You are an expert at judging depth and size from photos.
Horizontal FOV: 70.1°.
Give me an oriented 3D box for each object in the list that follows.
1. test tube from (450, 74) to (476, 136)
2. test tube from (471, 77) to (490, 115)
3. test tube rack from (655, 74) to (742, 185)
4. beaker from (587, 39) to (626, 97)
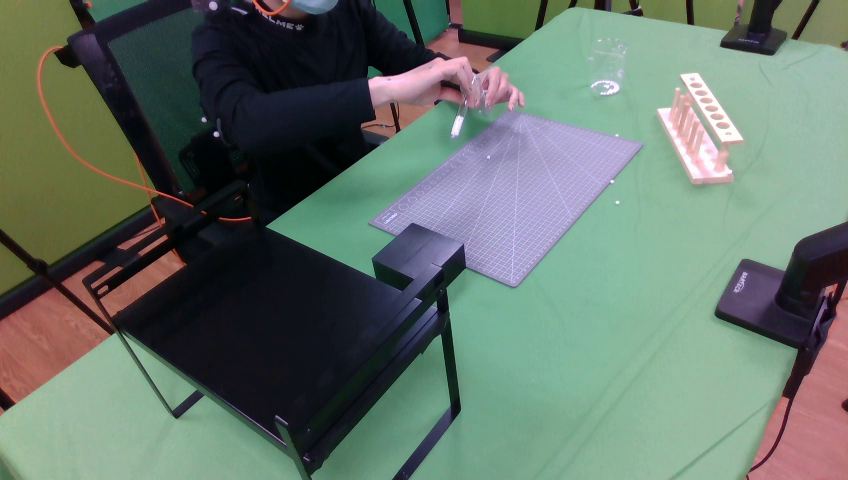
[{"bbox_3d":[0.066,-0.227,1.011,0.017,0.017,0.150,6,53,15],"label":"test tube"},{"bbox_3d":[0.107,-0.266,1.129,0.017,0.151,0.017,-2,79,13],"label":"test tube"},{"bbox_3d":[0.488,-0.205,1.093,0.067,0.085,0.241,-3,41,5],"label":"test tube rack"},{"bbox_3d":[0.386,-0.361,1.280,0.074,0.101,0.083,-22,43,-15],"label":"beaker"}]
